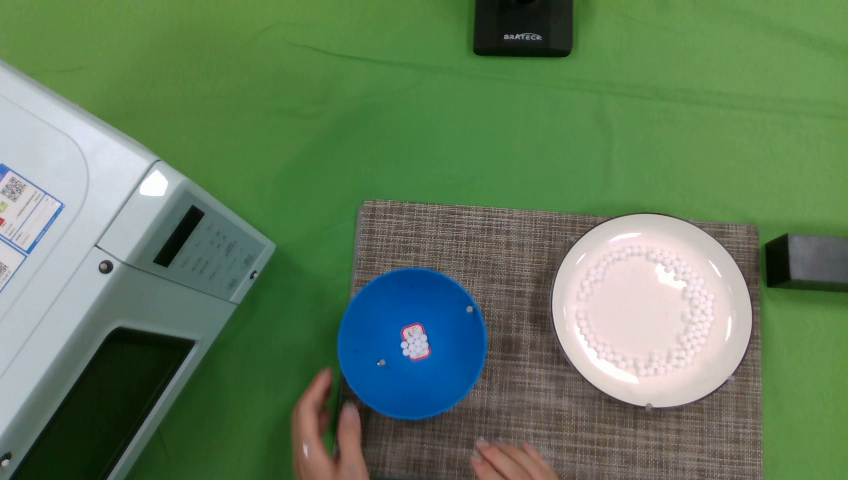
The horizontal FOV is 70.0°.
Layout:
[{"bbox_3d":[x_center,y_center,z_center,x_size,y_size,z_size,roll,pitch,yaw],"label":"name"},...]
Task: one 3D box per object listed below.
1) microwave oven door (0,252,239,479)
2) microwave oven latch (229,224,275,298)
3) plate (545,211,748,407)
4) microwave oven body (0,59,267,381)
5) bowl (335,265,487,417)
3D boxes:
[{"bbox_3d":[-0.318,0.185,0.536,0.039,0.245,0.355,30,80,10],"label":"microwave oven door"},{"bbox_3d":[-0.197,0.024,0.669,0.030,0.029,0.079,32,82,9],"label":"microwave oven latch"},{"bbox_3d":[0.234,0.072,0.651,0.207,0.039,0.206,-1,78,3],"label":"plate"},{"bbox_3d":[-0.421,0.079,0.570,0.325,0.261,0.441,30,81,9],"label":"microwave oven body"},{"bbox_3d":[-0.012,0.107,0.635,0.151,0.077,0.150,-1,77,3],"label":"bowl"}]
